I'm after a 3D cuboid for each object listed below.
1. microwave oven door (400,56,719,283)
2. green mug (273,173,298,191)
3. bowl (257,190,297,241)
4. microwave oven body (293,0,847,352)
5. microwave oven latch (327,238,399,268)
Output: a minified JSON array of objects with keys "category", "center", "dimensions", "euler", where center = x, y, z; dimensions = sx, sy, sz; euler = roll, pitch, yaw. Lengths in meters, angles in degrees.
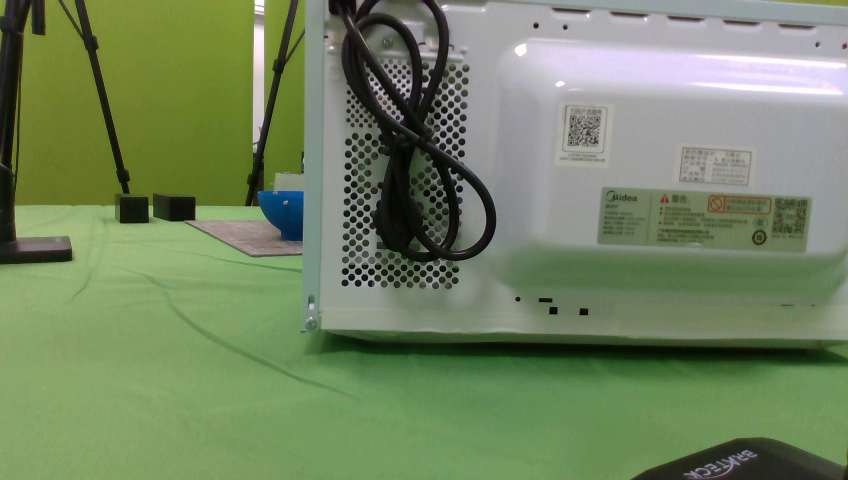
[{"category":"microwave oven door","center":[0.155,-0.077,0.698],"dimensions":[0.356,0.243,0.039],"euler":[2,8,-5]},{"category":"green mug","center":[-0.264,-0.084,1.236],"dimensions":[0.093,0.105,0.125],"euler":[0,8,-13]},{"category":"bowl","center":[-0.206,-0.041,1.027],"dimensions":[0.151,0.077,0.151],"euler":[3,8,0]},{"category":"microwave oven body","center":[0.122,-0.055,0.550],"dimensions":[0.442,0.260,0.325],"euler":[3,7,-5]},{"category":"microwave oven latch","center":[-0.069,0.015,0.694],"dimensions":[0.079,0.029,0.030],"euler":[3,7,-3]}]
